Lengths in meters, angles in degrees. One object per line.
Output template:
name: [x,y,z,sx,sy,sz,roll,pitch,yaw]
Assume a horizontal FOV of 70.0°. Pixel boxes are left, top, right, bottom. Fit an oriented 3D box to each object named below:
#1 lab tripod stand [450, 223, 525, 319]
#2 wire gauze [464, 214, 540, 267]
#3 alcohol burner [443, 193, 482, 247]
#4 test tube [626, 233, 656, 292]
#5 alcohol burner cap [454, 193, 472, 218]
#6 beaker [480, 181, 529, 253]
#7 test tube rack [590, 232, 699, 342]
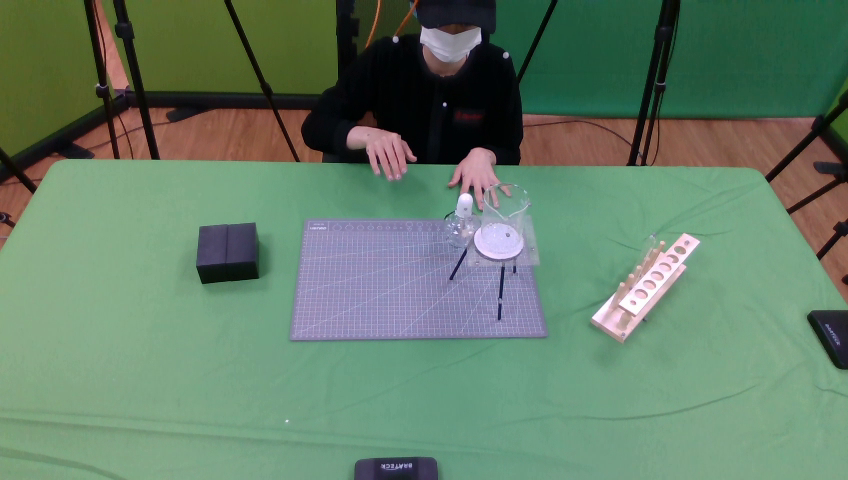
lab tripod stand: [0.120,0.046,1.080,0.148,0.132,0.147,1,47,-1]
wire gauze: [0.131,-0.001,1.035,0.121,0.011,0.124,1,44,-2]
alcohol burner: [0.075,-0.044,1.177,0.078,0.120,0.077,1,45,-1]
test tube: [0.384,0.042,1.079,0.017,0.151,0.017,1,47,-1]
alcohol burner cap: [0.076,-0.068,1.151,0.034,0.048,0.033,4,46,-4]
beaker: [0.130,-0.033,0.998,0.074,0.101,0.083,5,47,4]
test tube rack: [0.407,0.074,1.112,0.066,0.085,0.242,35,53,26]
